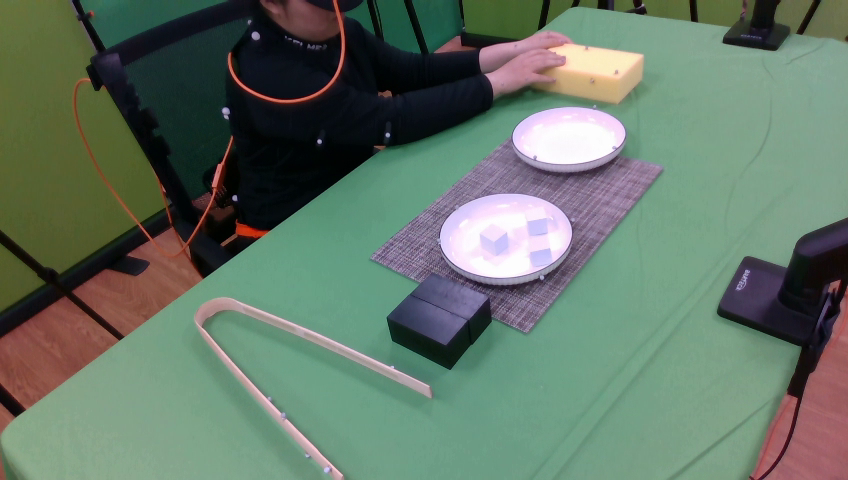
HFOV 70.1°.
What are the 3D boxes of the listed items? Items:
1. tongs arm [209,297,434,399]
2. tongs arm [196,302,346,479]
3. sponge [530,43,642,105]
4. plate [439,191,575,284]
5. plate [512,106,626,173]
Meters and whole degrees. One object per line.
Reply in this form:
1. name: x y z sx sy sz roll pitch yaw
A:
1. tongs arm: -0.153 0.143 0.837 0.385 0.028 0.028 16 49 28
2. tongs arm: -0.206 0.185 0.791 0.381 0.026 0.051 28 51 37
3. sponge: 0.350 -0.365 1.317 0.205 0.061 0.118 21 50 31
4. plate: 0.129 -0.001 0.942 0.207 0.039 0.206 -5 40 5
5. plate: 0.269 -0.185 1.132 0.209 0.038 0.208 -5 40 5
